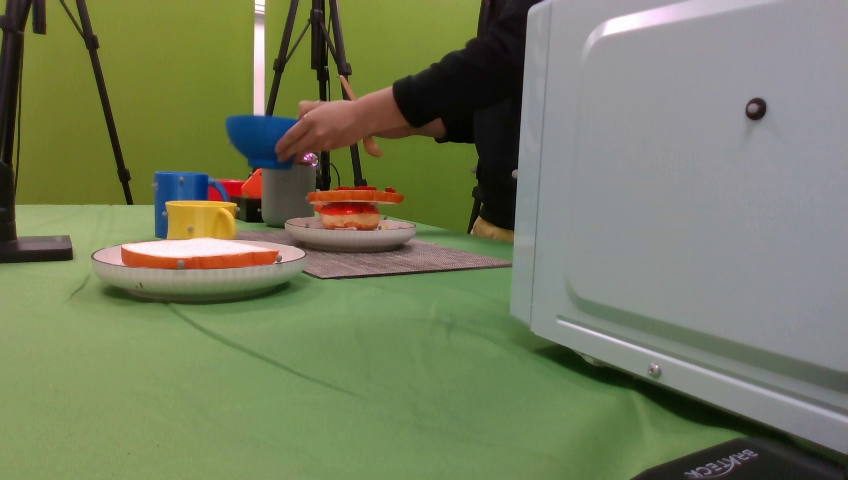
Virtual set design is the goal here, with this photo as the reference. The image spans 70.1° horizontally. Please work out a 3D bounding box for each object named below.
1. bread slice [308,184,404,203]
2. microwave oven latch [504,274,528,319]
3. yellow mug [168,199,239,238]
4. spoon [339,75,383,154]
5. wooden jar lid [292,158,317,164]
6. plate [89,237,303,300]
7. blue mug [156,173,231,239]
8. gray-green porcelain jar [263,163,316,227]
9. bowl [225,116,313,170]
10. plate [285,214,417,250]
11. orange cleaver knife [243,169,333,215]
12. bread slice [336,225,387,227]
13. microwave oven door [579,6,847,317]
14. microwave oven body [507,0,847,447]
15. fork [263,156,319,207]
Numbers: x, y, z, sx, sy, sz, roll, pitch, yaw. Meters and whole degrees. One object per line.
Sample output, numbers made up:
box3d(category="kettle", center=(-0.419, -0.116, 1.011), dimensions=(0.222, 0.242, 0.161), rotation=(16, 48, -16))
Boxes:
box3d(category="bread slice", center=(-0.114, -0.072, 0.954), dimensions=(0.134, 0.018, 0.107), rotation=(-3, -1, 21))
box3d(category="microwave oven latch", center=(0.100, 0.041, 0.471), dimensions=(0.079, 0.029, 0.030), rotation=(-1, 7, -27))
box3d(category="yellow mug", center=(-0.320, -0.023, 0.904), dimensions=(0.130, 0.064, 0.100), rotation=(9, 11, 36))
box3d(category="spoon", center=(-0.130, -0.253, 1.215), dimensions=(0.042, 0.193, 0.021), rotation=(-10, -17, -45))
box3d(category="wooden jar lid", center=(-0.269, -0.154, 1.208), dimensions=(0.108, 0.020, 0.108), rotation=(3, 4, 0))
box3d(category="plate", center=(-0.233, 0.029, 0.637), dimensions=(0.208, 0.039, 0.207), rotation=(2, 7, 0))
box3d(category="blue mug", center=(-0.381, -0.057, 1.004), dimensions=(0.117, 0.106, 0.082), rotation=(1, 8, -12))
box3d(category="gray-green porcelain jar", center=(-0.270, -0.092, 1.218), dimensions=(0.106, 0.126, 0.106), rotation=(2, 7, 0))
box3d(category="bowl", center=(-0.269, -0.163, 1.053), dimensions=(0.151, 0.077, 0.151), rotation=(1, 1, 0))
box3d(category="plate", center=(-0.116, -0.014, 0.964), dimensions=(0.209, 0.038, 0.209), rotation=(2, 7, 0))
box3d(category="orange cleaver knife", center=(-0.300, -0.089, 1.351), dimensions=(0.212, 0.077, 0.012), rotation=(28, -9, -34))
box3d(category="bread slice", center=(-0.103, -0.010, 0.961), dimensions=(0.131, 0.019, 0.105), rotation=(2, 8, 24))
box3d(category="microwave oven door", center=(0.294, -0.067, 0.570), dimensions=(0.358, 0.243, 0.039), rotation=(-3, 9, -31))
box3d(category="microwave oven body", center=(0.331, -0.042, 0.425), dimensions=(0.444, 0.260, 0.324), rotation=(-2, 8, -31))
box3d(category="fork", center=(-0.331, -0.144, 1.505), dimensions=(0.207, 0.018, 0.028), rotation=(-42, -20, 22))
